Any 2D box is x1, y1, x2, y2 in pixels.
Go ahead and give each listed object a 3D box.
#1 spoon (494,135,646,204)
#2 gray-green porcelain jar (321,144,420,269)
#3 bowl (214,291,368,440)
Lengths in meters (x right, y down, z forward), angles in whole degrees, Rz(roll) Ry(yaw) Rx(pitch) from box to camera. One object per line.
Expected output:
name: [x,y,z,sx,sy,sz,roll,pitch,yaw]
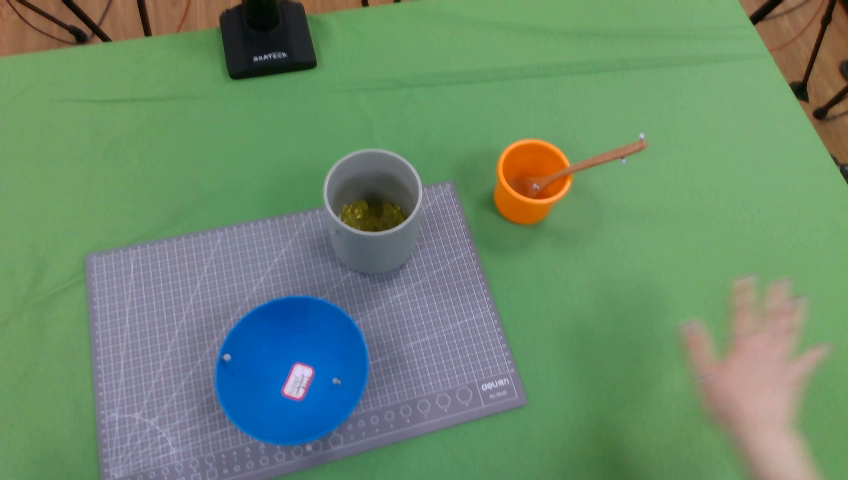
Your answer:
spoon: [0.169,-0.085,0.723,0.022,0.193,0.041,22,57,-45]
gray-green porcelain jar: [-0.060,-0.031,0.688,0.106,0.127,0.105,2,66,-4]
bowl: [-0.134,0.136,0.635,0.151,0.077,0.150,2,66,-5]
